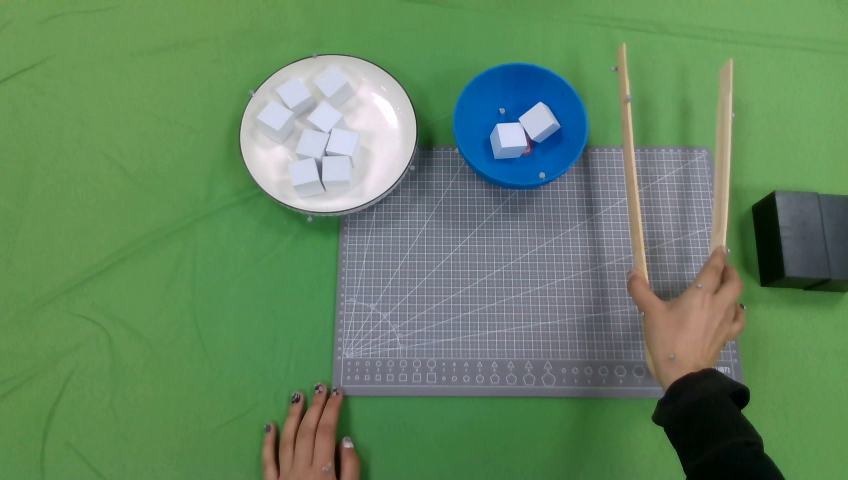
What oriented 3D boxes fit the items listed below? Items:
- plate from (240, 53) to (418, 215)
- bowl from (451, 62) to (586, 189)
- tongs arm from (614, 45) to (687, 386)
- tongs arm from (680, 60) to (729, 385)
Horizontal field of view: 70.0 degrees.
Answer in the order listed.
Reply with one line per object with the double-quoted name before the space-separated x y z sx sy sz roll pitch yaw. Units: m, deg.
"plate" -0.110 -0.124 0.722 0.208 0.039 0.206 0 73 0
"bowl" 0.104 -0.119 0.702 0.151 0.077 0.150 0 73 -1
"tongs arm" 0.245 -0.037 0.665 0.051 0.026 0.382 4 75 -8
"tongs arm" 0.315 -0.029 0.673 0.028 0.028 0.385 14 74 -9
